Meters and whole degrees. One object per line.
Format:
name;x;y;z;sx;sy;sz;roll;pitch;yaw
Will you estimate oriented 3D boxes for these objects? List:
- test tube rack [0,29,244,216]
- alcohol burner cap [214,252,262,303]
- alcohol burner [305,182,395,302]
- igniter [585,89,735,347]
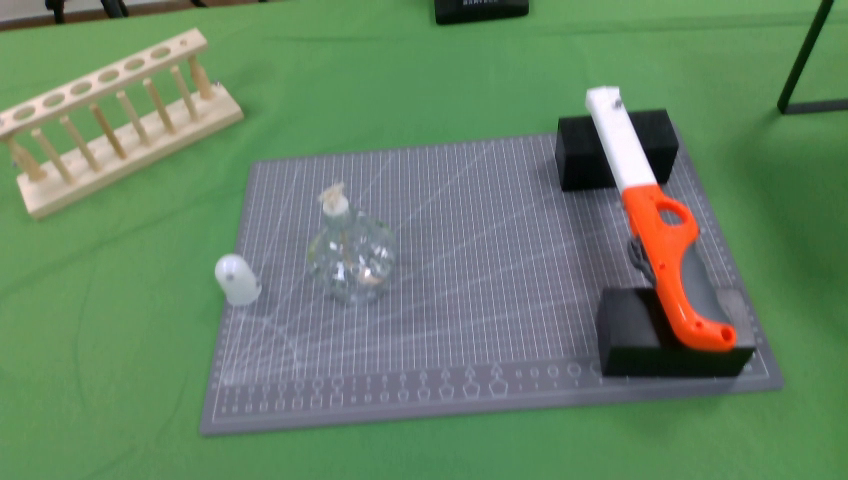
test tube rack;-0.330;-0.129;0.651;0.242;0.086;0.066;-31;56;-17
alcohol burner cap;-0.166;0.030;0.536;0.034;0.048;0.033;-3;54;5
alcohol burner;-0.065;-0.002;0.503;0.078;0.120;0.077;-3;50;5
igniter;0.181;-0.033;0.494;0.057;0.025;0.273;-8;51;2
